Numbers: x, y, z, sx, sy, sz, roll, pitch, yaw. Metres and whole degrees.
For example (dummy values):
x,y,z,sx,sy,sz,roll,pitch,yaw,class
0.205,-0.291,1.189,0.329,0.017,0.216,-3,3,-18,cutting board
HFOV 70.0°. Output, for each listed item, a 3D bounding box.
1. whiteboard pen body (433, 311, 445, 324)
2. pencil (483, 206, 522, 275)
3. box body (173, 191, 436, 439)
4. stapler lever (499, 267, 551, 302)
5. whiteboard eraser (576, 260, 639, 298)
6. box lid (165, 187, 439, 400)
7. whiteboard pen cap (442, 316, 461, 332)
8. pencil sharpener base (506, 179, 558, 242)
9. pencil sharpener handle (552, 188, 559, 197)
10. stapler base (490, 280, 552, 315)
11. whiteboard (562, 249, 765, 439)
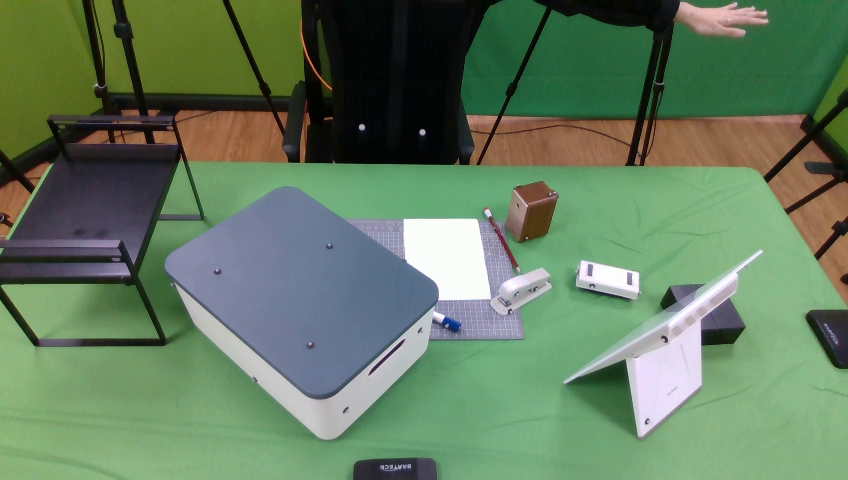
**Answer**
x,y,z,sx,sy,sz,roll,pitch,yaw,class
-0.004,0.123,1.074,0.140,0.017,0.017,24,49,15,whiteboard pen body
0.158,-0.002,1.218,0.012,0.012,0.192,-11,48,-14,pencil
-0.191,0.110,0.979,0.362,0.161,0.254,33,53,24,box body
0.185,0.076,1.101,0.118,0.040,0.026,-25,57,-29,stapler lever
0.344,0.075,1.138,0.112,0.042,0.055,12,44,8,whiteboard eraser
-0.186,0.060,0.925,0.370,0.015,0.263,32,53,25,box lid
0.048,0.146,1.059,0.033,0.018,0.018,24,49,16,whiteboard pen cap
0.216,-0.059,1.211,0.077,0.107,0.061,-16,49,-19,pencil sharpener base
0.261,-0.084,1.221,0.031,0.068,0.036,-16,65,-19,pencil sharpener handle
0.181,0.094,1.118,0.130,0.024,0.041,-24,57,-29,stapler base
0.386,0.176,0.905,0.217,0.306,0.143,-26,72,-26,whiteboard
